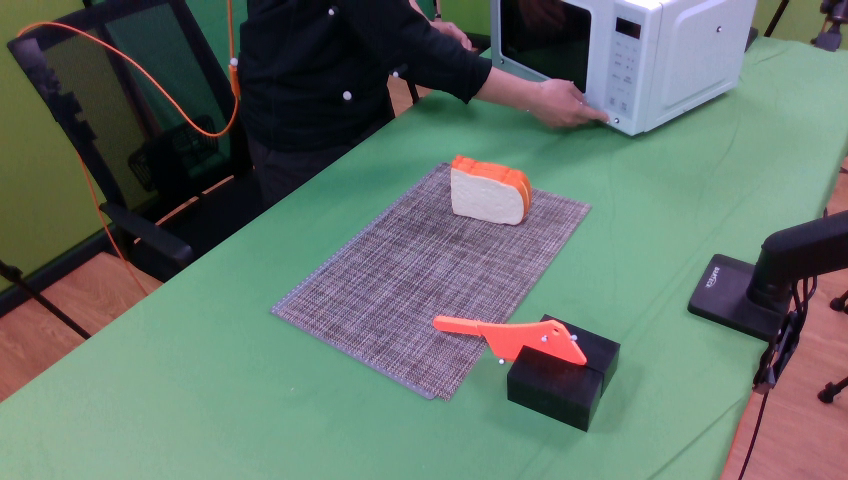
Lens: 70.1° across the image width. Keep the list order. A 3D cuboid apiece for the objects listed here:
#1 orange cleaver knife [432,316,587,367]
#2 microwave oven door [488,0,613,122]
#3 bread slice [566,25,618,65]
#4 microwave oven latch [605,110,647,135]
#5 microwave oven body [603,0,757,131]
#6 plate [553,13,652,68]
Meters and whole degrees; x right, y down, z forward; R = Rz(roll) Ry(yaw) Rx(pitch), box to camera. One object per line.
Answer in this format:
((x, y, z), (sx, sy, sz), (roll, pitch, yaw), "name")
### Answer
((0.101, 0.127, 0.761), (0.210, 0.077, 0.012), (-1, 34, 40), "orange cleaver knife")
((0.250, -0.412, 1.219), (0.039, 0.245, 0.352), (-27, 44, -21), "microwave oven door")
((0.362, -0.427, 1.325), (0.107, 0.018, 0.133), (0, 51, 6), "bread slice")
((0.379, -0.225, 1.139), (0.030, 0.029, 0.078), (-26, 43, -19), "microwave oven latch")
((0.396, -0.448, 1.248), (0.327, 0.261, 0.437), (-27, 44, -21), "microwave oven body")
((0.384, -0.427, 1.312), (0.207, 0.039, 0.206), (-3, 45, 3), "plate")
